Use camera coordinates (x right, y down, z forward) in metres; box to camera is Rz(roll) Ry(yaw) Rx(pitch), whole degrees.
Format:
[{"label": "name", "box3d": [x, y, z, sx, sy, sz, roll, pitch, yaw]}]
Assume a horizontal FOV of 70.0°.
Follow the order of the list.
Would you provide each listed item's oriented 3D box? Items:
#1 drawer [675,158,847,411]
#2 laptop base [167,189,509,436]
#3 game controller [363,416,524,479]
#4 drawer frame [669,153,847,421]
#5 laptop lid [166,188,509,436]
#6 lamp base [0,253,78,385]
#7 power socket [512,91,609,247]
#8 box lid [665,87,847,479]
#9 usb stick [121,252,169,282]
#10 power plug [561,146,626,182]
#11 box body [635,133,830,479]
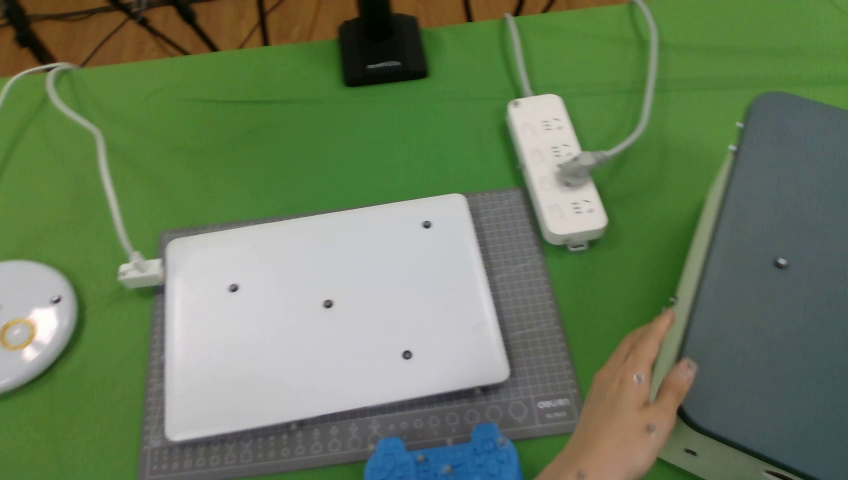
[{"label": "drawer", "box3d": [0.397, 0.042, 0.625, 0.193, 0.074, 0.211, 27, 67, 17]}, {"label": "laptop base", "box3d": [-0.103, 0.070, 0.672, 0.355, 0.023, 0.233, -9, 65, -4]}, {"label": "game controller", "box3d": [0.017, 0.221, 0.568, 0.155, 0.052, 0.096, -7, 59, -3]}, {"label": "drawer frame", "box3d": [0.393, 0.041, 0.627, 0.201, 0.083, 0.213, 28, 62, 14]}, {"label": "laptop lid", "box3d": [-0.103, 0.066, 0.661, 0.357, 0.013, 0.239, -8, 64, -3]}, {"label": "lamp base", "box3d": [-0.480, 0.044, 0.605, 0.178, 0.182, 0.159, 16, 62, 14]}, {"label": "power socket", "box3d": [0.165, -0.096, 0.748, 0.072, 0.033, 0.224, -8, 61, -4]}, {"label": "box lid", "box3d": [0.378, 0.031, 0.512, 0.262, 0.015, 0.370, 22, 65, 14]}, {"label": "usb stick", "box3d": [-0.307, 0.030, 0.685, 0.059, 0.027, 0.021, -5, 56, -5]}, {"label": "power plug", "box3d": [0.198, -0.084, 0.714, 0.072, 0.053, 0.035, 2, 60, 1]}, {"label": "box body", "box3d": [0.380, 0.069, 0.576, 0.253, 0.161, 0.362, 23, 64, 13]}]
